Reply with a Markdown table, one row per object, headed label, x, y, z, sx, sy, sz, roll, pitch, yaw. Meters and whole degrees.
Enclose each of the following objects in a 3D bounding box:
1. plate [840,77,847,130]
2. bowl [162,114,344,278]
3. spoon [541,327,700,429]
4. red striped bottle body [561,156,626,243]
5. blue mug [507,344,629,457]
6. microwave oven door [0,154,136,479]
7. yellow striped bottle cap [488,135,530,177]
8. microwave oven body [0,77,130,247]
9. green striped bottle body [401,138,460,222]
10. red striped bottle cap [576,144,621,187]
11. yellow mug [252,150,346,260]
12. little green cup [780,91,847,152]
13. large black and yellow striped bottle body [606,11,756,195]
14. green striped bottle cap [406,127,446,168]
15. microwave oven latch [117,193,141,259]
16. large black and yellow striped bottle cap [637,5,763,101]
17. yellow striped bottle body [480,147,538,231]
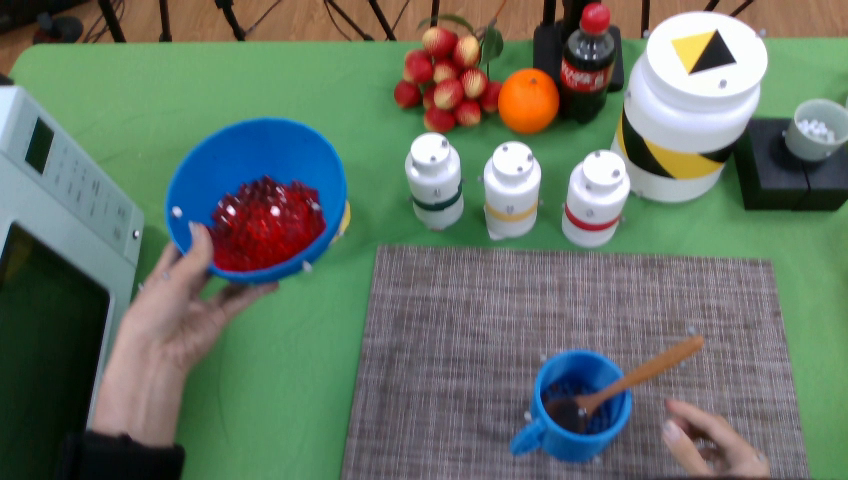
| label | x | y | z | sx | sy | sz | roll | pitch | yaw |
| --- | --- | --- | --- | --- | --- | --- | --- | --- | --- |
| plate | 0.605 | -0.146 | 0.721 | 0.209 | 0.038 | 0.207 | -2 | 63 | 5 |
| bowl | -0.138 | -0.026 | 0.530 | 0.151 | 0.077 | 0.150 | -2 | 65 | 4 |
| spoon | 0.164 | 0.127 | 0.533 | 0.022 | 0.194 | 0.041 | -4 | 59 | -37 |
| red striped bottle body | 0.187 | -0.052 | 0.671 | 0.063 | 0.121 | 0.062 | -4 | 60 | 7 |
| blue mug | 0.127 | 0.162 | 0.569 | 0.116 | 0.107 | 0.081 | -30 | 63 | -10 |
| microwave oven door | -0.363 | 0.129 | 0.545 | 0.039 | 0.246 | 0.352 | -7 | 62 | 4 |
| yellow striped bottle cap | 0.090 | -0.089 | 0.642 | 0.044 | 0.019 | 0.044 | -2 | 64 | 5 |
| microwave oven body | -0.511 | 0.111 | 0.577 | 0.326 | 0.262 | 0.437 | -6 | 62 | 2 |
| green striped bottle body | 0.008 | -0.076 | 0.703 | 0.063 | 0.120 | 0.062 | -2 | 62 | 5 |
| red striped bottle cap | 0.180 | -0.077 | 0.625 | 0.044 | 0.018 | 0.044 | -1 | 61 | 2 |
| yellow mug | -0.154 | -0.037 | 0.731 | 0.099 | 0.064 | 0.130 | 11 | 65 | 12 |
| little green cup | 0.432 | -0.130 | 0.674 | 0.061 | 0.039 | 0.061 | -2 | 61 | 4 |
| large black and yellow striped bottle body | 0.282 | -0.149 | 0.675 | 0.130 | 0.185 | 0.129 | -3 | 62 | 5 |
| green striped bottle cap | 0.002 | -0.101 | 0.657 | 0.044 | 0.020 | 0.044 | -2 | 63 | 3 |
| microwave oven latch | -0.366 | -0.016 | 0.737 | 0.030 | 0.030 | 0.078 | -5 | 63 | 3 |
| large black and yellow striped bottle cap | 0.273 | -0.188 | 0.601 | 0.115 | 0.019 | 0.114 | -3 | 61 | 6 |
| yellow striped bottle body | 0.096 | -0.065 | 0.687 | 0.063 | 0.121 | 0.062 | -3 | 61 | 6 |
